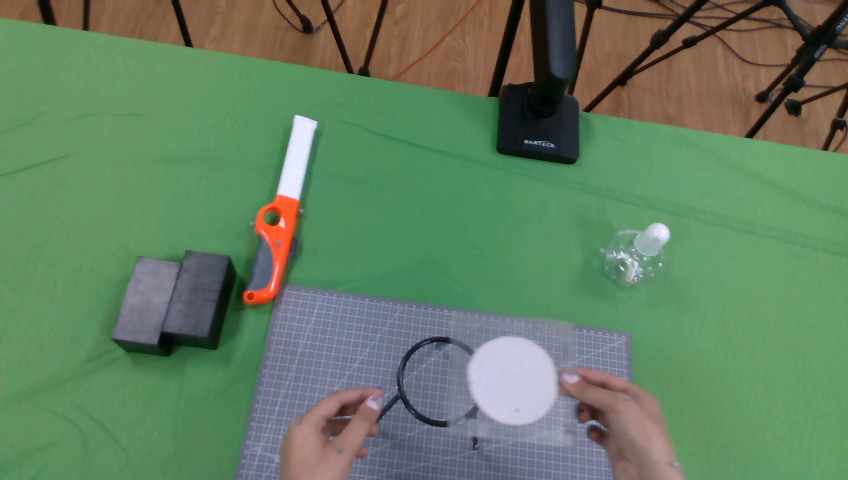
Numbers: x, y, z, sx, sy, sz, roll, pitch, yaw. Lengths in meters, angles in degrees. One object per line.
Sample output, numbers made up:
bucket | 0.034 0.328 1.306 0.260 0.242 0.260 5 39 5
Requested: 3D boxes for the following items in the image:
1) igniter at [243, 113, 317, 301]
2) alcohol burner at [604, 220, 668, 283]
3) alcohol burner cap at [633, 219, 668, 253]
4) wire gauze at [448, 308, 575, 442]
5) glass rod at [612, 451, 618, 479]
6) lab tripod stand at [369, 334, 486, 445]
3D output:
igniter | -0.182 -0.048 0.786 0.057 0.025 0.274 16 63 -17
alcohol burner | 0.276 0.008 0.773 0.078 0.120 0.077 3 63 -6
alcohol burner cap | 0.281 -0.007 0.741 0.034 0.048 0.033 1 69 -3
wire gauze | 0.083 0.126 0.580 0.125 0.011 0.120 6 63 -4
glass rod | 0.213 0.337 0.668 0.008 0.008 0.198 8 64 -4
lab tripod stand | 0.010 0.159 0.654 0.148 0.132 0.147 2 63 -4
